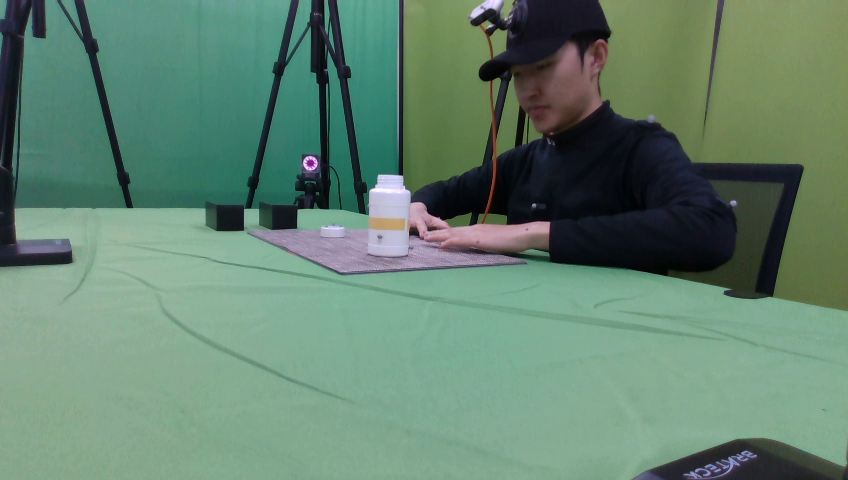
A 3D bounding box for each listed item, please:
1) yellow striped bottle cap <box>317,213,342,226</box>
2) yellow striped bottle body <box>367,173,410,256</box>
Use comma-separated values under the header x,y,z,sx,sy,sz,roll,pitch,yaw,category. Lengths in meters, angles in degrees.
x,y,z,sx,sy,sz,roll,pitch,yaw,category
-0.171,-0.038,1.102,0.044,0.018,0.044,-4,13,1,yellow striped bottle cap
-0.052,-0.040,0.901,0.063,0.120,0.063,2,7,0,yellow striped bottle body
